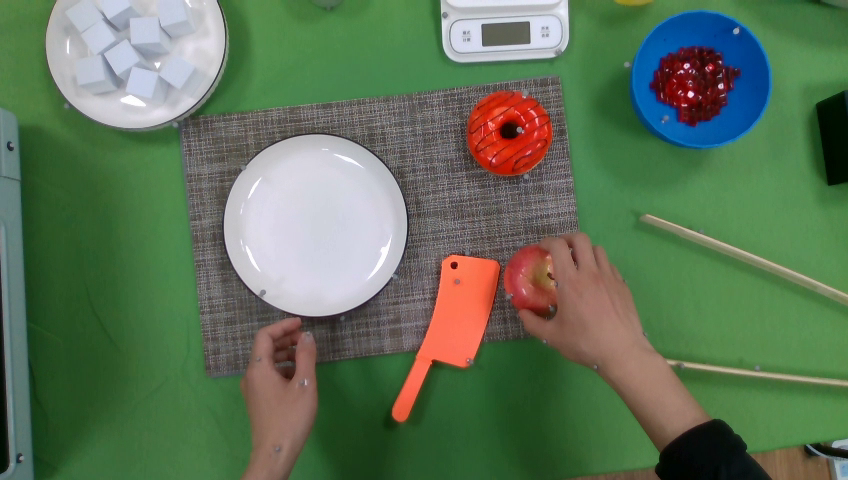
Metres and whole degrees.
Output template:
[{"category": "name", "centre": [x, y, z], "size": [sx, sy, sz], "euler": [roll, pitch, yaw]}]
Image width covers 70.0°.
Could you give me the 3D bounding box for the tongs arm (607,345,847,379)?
[{"category": "tongs arm", "centre": [0.404, 0.128, 0.687], "size": [0.385, 0.026, 0.050], "euler": [8, 84, 0]}]

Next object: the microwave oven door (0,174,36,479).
[{"category": "microwave oven door", "centre": [-0.466, 0.099, 0.567], "size": [0.039, 0.244, 0.355], "euler": [-5, 87, 0]}]

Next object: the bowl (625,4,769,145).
[{"category": "bowl", "centre": [0.292, -0.175, 0.680], "size": [0.151, 0.077, 0.151], "euler": [0, 88, 0]}]

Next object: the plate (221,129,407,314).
[{"category": "plate", "centre": [-0.122, -0.021, 0.689], "size": [0.209, 0.038, 0.209], "euler": [0, 88, 0]}]

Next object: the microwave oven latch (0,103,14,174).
[{"category": "microwave oven latch", "centre": [-0.480, -0.114, 0.678], "size": [0.030, 0.029, 0.079], "euler": [-2, 88, -1]}]

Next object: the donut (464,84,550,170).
[{"category": "donut", "centre": [0.094, -0.129, 0.691], "size": [0.099, 0.048, 0.099], "euler": [0, 88, 2]}]

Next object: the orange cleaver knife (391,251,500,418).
[{"category": "orange cleaver knife", "centre": [0.025, 0.109, 0.692], "size": [0.077, 0.012, 0.211], "euler": [22, 85, -5]}]

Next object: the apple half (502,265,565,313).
[{"category": "apple half", "centre": [0.113, 0.061, 0.665], "size": [0.081, 0.081, 0.032], "euler": [32, 81, 2]}]

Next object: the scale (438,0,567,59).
[{"category": "scale", "centre": [0.089, -0.317, 0.708], "size": [0.149, 0.031, 0.200], "euler": [-3, 88, 0]}]

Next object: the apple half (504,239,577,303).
[{"category": "apple half", "centre": [0.134, 0.028, 0.670], "size": [0.080, 0.075, 0.053], "euler": [32, 82, 6]}]

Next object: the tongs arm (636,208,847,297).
[{"category": "tongs arm", "centre": [0.424, 0.044, 0.693], "size": [0.387, 0.028, 0.028], "euler": [23, 80, 1]}]

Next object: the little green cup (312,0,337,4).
[{"category": "little green cup", "centre": [-0.119, -0.307, 0.705], "size": [0.061, 0.038, 0.061], "euler": [0, 87, 0]}]

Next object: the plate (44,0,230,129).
[{"category": "plate", "centre": [-0.326, -0.228, 0.701], "size": [0.208, 0.039, 0.207], "euler": [0, 87, 0]}]
